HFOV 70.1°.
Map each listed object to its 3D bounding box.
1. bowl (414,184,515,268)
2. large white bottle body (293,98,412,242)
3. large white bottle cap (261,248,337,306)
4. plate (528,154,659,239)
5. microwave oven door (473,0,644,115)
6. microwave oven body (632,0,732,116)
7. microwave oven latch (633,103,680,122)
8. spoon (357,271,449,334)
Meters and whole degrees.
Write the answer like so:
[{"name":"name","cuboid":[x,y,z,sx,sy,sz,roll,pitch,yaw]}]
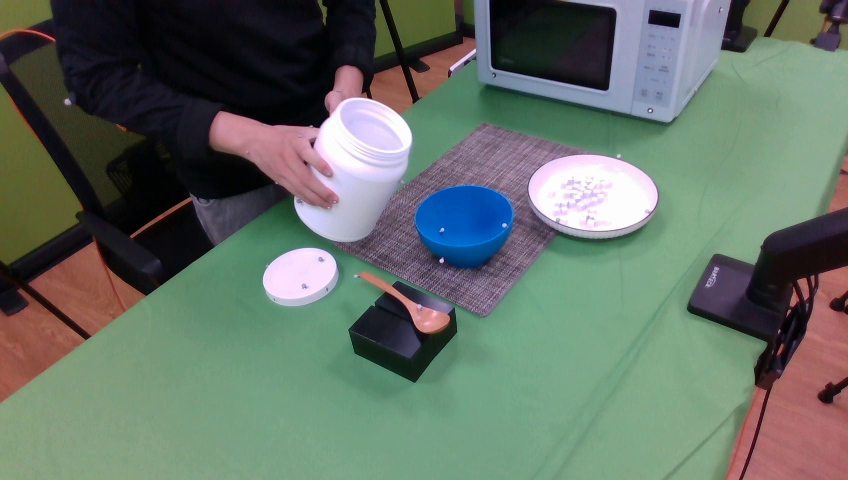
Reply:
[{"name":"bowl","cuboid":[0.063,-0.011,0.922,0.151,0.077,0.150,-4,40,4]},{"name":"large white bottle body","cuboid":[-0.102,-0.100,0.872,0.131,0.184,0.130,18,45,-18]},{"name":"large white bottle cap","cuboid":[-0.193,0.056,0.934,0.115,0.018,0.114,-4,41,4]},{"name":"plate","cuboid":[0.274,-0.069,0.993,0.209,0.038,0.208,-2,42,2]},{"name":"microwave oven door","cuboid":[0.257,-0.396,1.199,0.353,0.245,0.039,21,48,29]},{"name":"microwave oven body","cuboid":[0.377,-0.462,1.267,0.438,0.261,0.327,21,49,30]},{"name":"microwave oven latch","cuboid":[0.444,-0.249,1.157,0.078,0.029,0.030,21,49,30]},{"name":"spoon","cuboid":[-0.034,0.078,0.812,0.042,0.022,0.192,-35,42,-24]}]
